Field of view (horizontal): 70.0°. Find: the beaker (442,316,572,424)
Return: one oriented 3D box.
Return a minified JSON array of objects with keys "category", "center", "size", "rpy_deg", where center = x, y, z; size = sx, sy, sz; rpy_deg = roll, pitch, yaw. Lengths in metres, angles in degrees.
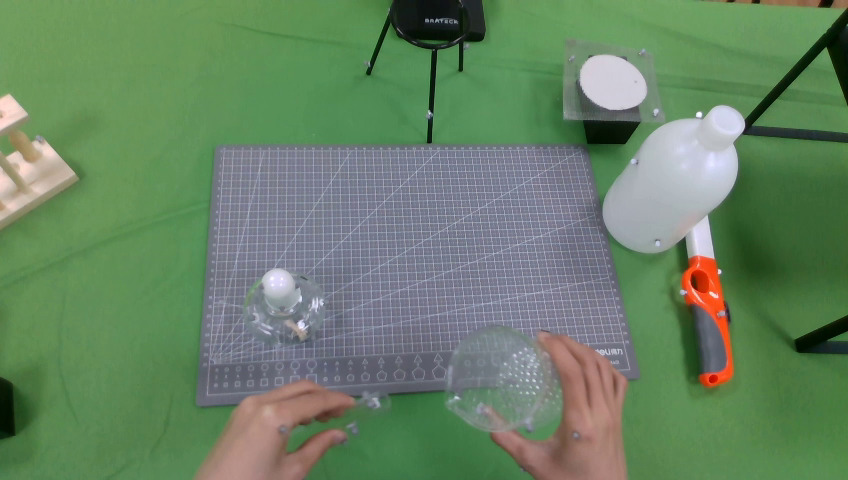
[{"category":"beaker","center":[0.068,0.105,0.472],"size":[0.084,0.101,0.073],"rpy_deg":[-32,64,18]}]

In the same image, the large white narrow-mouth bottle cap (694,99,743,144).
[{"category":"large white narrow-mouth bottle cap","center":[0.274,-0.112,0.567],"size":[0.038,0.024,0.037],"rpy_deg":[3,65,-5]}]

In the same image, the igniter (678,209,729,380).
[{"category":"igniter","center":[0.315,0.025,0.697],"size":[0.057,0.025,0.274],"rpy_deg":[12,64,-16]}]

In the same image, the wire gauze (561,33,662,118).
[{"category":"wire gauze","center":[0.228,-0.202,0.747],"size":[0.121,0.011,0.124],"rpy_deg":[6,64,-5]}]

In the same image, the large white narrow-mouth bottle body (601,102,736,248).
[{"category":"large white narrow-mouth bottle body","center":[0.266,-0.073,0.644],"size":[0.102,0.196,0.101],"rpy_deg":[3,64,-5]}]

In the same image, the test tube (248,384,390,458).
[{"category":"test tube","center":[-0.088,0.147,0.483],"size":[0.150,0.017,0.017],"rpy_deg":[-29,65,26]}]

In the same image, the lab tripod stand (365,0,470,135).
[{"category":"lab tripod stand","center":[0.001,-0.220,0.711],"size":[0.149,0.132,0.147],"rpy_deg":[4,66,-7]}]

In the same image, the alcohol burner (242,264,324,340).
[{"category":"alcohol burner","center":[-0.135,0.053,0.574],"size":[0.078,0.120,0.077],"rpy_deg":[4,63,-7]}]

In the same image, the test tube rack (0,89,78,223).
[{"category":"test tube rack","center":[-0.482,-0.038,0.589],"size":[0.066,0.085,0.242],"rpy_deg":[44,67,13]}]

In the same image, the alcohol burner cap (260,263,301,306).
[{"category":"alcohol burner cap","center":[-0.130,0.039,0.541],"size":[0.034,0.048,0.033],"rpy_deg":[1,70,-3]}]
